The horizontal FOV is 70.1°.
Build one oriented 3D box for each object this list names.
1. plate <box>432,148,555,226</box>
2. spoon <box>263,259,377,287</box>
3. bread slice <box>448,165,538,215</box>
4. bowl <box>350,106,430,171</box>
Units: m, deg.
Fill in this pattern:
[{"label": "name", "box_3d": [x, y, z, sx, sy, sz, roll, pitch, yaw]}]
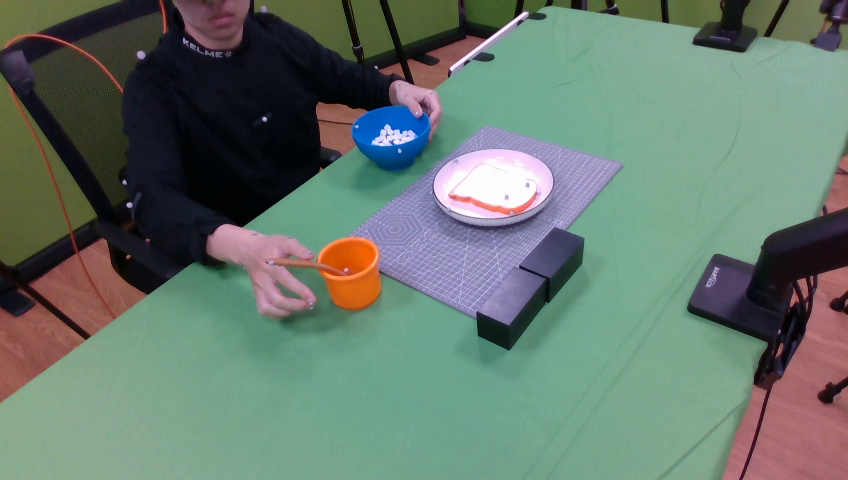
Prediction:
[{"label": "plate", "box_3d": [0.119, -0.087, 1.037, 0.209, 0.038, 0.208, -4, 40, 4]}, {"label": "spoon", "box_3d": [-0.141, 0.042, 0.843, 0.041, 0.195, 0.021, 34, 100, 42]}, {"label": "bread slice", "box_3d": [0.126, -0.085, 1.038, 0.133, 0.018, 0.107, 16, 45, 27]}, {"label": "bowl", "box_3d": [-0.060, -0.185, 1.150, 0.151, 0.077, 0.150, -4, 41, 4]}]
